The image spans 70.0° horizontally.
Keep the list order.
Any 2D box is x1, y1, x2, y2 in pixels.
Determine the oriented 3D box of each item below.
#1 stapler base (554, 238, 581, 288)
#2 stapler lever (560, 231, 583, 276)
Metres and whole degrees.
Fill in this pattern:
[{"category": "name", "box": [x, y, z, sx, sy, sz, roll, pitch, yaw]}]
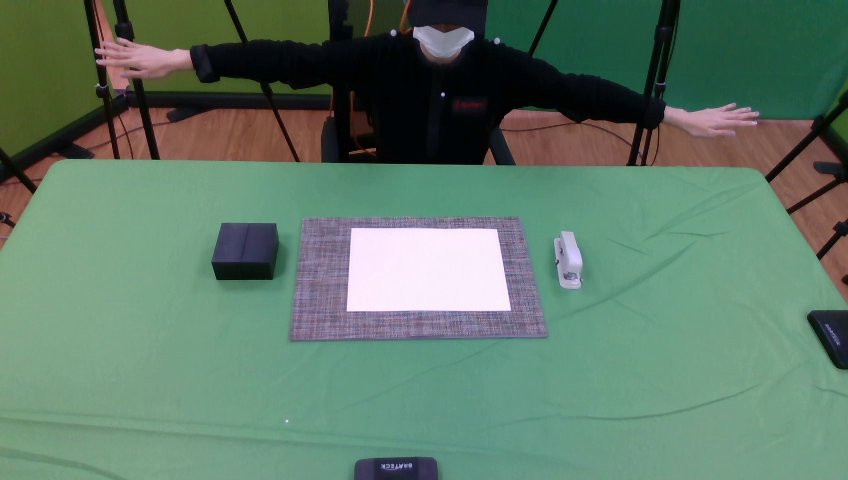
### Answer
[{"category": "stapler base", "box": [0.282, 0.038, 1.181, 0.041, 0.024, 0.130, 5, 44, -2]}, {"category": "stapler lever", "box": [0.283, 0.018, 1.165, 0.027, 0.040, 0.117, 5, 44, -2]}]
